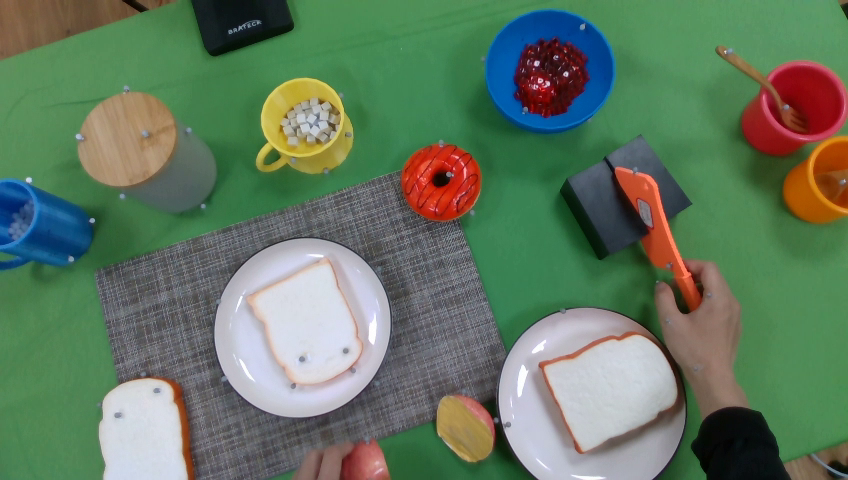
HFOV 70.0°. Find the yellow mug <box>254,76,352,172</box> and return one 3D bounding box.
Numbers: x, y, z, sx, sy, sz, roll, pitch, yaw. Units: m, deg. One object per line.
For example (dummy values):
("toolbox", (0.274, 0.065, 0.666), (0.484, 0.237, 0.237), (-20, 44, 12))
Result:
("yellow mug", (-0.155, -0.131, 0.745), (0.131, 0.064, 0.099), (-42, 80, -5))

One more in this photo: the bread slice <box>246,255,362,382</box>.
("bread slice", (-0.132, 0.097, 0.712), (0.107, 0.018, 0.133), (-30, 79, -2))

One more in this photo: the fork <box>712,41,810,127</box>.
("fork", (0.385, -0.174, 0.685), (0.209, 0.018, 0.028), (20, 76, -35))

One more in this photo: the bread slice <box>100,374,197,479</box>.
("bread slice", (-0.326, 0.224, 0.706), (0.105, 0.019, 0.131), (-11, 80, 0))

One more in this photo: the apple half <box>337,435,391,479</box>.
("apple half", (-0.066, 0.256, 0.652), (0.053, 0.074, 0.081), (-20, 108, -16))

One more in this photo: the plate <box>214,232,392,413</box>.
("plate", (-0.139, 0.095, 0.711), (0.207, 0.039, 0.206), (0, 79, 3))

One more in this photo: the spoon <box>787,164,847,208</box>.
("spoon", (0.498, -0.092, 0.664), (0.022, 0.194, 0.041), (-12, 72, -46))

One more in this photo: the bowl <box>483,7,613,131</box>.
("bowl", (0.145, -0.194, 0.736), (0.151, 0.077, 0.150), (0, 80, 3))

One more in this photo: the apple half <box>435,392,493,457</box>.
("apple half", (0.049, 0.203, 0.682), (0.033, 0.081, 0.081), (-28, 75, -43))

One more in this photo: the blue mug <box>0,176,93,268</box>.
("blue mug", (-0.474, -0.009, 0.716), (0.116, 0.106, 0.082), (-44, 80, -5))

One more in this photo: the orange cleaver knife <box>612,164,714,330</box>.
("orange cleaver knife", (0.270, 0.007, 0.689), (0.012, 0.077, 0.212), (-30, 101, -10))

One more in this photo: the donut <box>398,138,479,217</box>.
("donut", (0.018, -0.075, 0.733), (0.099, 0.048, 0.098), (0, 80, 3))

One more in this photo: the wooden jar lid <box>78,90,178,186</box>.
("wooden jar lid", (-0.316, -0.108, 0.654), (0.108, 0.021, 0.108), (-1, 78, 4))

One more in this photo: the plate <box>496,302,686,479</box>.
("plate", (0.184, 0.175, 0.684), (0.209, 0.038, 0.208), (-1, 79, 4))

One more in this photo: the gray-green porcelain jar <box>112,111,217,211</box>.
("gray-green porcelain jar", (-0.313, -0.095, 0.715), (0.106, 0.127, 0.105), (0, 78, 3))
